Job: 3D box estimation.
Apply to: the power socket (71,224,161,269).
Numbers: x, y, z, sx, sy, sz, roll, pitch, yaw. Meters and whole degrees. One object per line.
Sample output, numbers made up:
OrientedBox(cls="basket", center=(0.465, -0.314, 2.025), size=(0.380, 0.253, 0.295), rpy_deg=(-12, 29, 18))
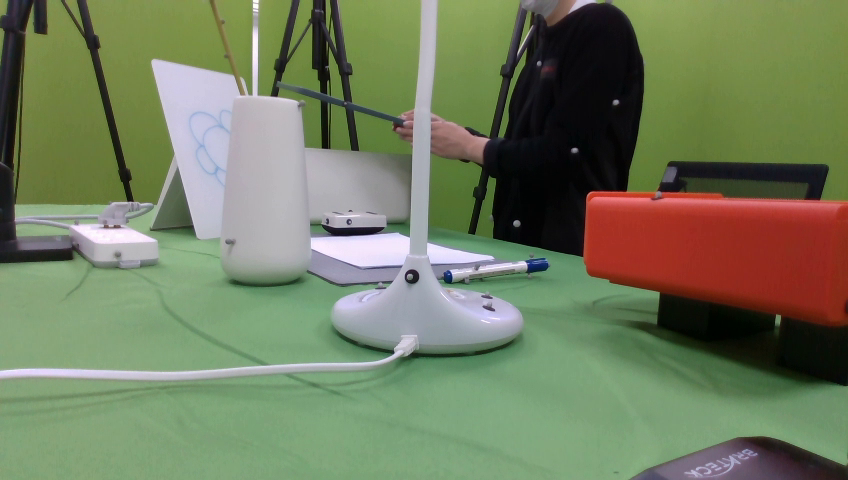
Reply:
OrientedBox(cls="power socket", center=(-0.408, 0.004, 0.793), size=(0.072, 0.032, 0.225), rpy_deg=(-2, 8, -38))

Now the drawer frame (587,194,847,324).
OrientedBox(cls="drawer frame", center=(0.285, 0.004, 0.508), size=(0.203, 0.082, 0.212), rpy_deg=(-1, 6, -29))

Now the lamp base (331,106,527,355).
OrientedBox(cls="lamp base", center=(0.006, -0.012, 0.478), size=(0.161, 0.180, 0.179), rpy_deg=(2, 10, 2))

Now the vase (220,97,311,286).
OrientedBox(cls="vase", center=(-0.172, -0.052, 0.662), size=(0.098, 0.200, 0.098), rpy_deg=(3, 8, 0))

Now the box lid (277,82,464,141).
OrientedBox(cls="box lid", center=(-0.120, -0.277, 1.308), size=(0.373, 0.015, 0.262), rpy_deg=(12, 11, -27))

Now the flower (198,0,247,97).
OrientedBox(cls="flower", center=(-0.187, -0.133, 0.648), size=(0.038, 0.362, 0.044), rpy_deg=(0, 22, 43))

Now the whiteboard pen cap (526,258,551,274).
OrientedBox(cls="whiteboard pen cap", center=(0.141, 0.033, 0.759), size=(0.033, 0.018, 0.018), rpy_deg=(-7, 11, -26))

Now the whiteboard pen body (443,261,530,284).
OrientedBox(cls="whiteboard pen body", center=(0.087, 0.037, 0.734), size=(0.141, 0.017, 0.017), rpy_deg=(-6, 10, -27))

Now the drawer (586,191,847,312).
OrientedBox(cls="drawer", center=(0.281, 0.001, 0.513), size=(0.195, 0.073, 0.210), rpy_deg=(-1, 8, -29))

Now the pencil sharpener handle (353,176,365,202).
OrientedBox(cls="pencil sharpener handle", center=(-0.155, -0.123, 1.448), size=(0.031, 0.068, 0.036), rpy_deg=(1, 19, -10))

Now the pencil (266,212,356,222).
OrientedBox(cls="pencil", center=(-0.245, -0.049, 1.319), size=(0.195, 0.012, 0.012), rpy_deg=(3, 7, -13))

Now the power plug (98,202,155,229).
OrientedBox(cls="power plug", center=(-0.416, -0.027, 0.848), size=(0.073, 0.052, 0.035), rpy_deg=(0, 8, -28))

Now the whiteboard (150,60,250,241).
OrientedBox(cls="whiteboard", center=(-0.408, -0.139, 1.093), size=(0.143, 0.305, 0.218), rpy_deg=(-15, -1, 26))

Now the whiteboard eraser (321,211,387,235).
OrientedBox(cls="whiteboard eraser", center=(-0.128, -0.031, 1.108), size=(0.113, 0.042, 0.055), rpy_deg=(-4, 8, -38))

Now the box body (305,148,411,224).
OrientedBox(cls="box body", center=(-0.229, -0.126, 1.370), size=(0.366, 0.160, 0.253), rpy_deg=(-2, 8, -33))

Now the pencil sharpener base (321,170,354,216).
OrientedBox(cls="pencil sharpener base", center=(-0.205, -0.111, 1.436), size=(0.077, 0.107, 0.061), rpy_deg=(1, 6, -10))
